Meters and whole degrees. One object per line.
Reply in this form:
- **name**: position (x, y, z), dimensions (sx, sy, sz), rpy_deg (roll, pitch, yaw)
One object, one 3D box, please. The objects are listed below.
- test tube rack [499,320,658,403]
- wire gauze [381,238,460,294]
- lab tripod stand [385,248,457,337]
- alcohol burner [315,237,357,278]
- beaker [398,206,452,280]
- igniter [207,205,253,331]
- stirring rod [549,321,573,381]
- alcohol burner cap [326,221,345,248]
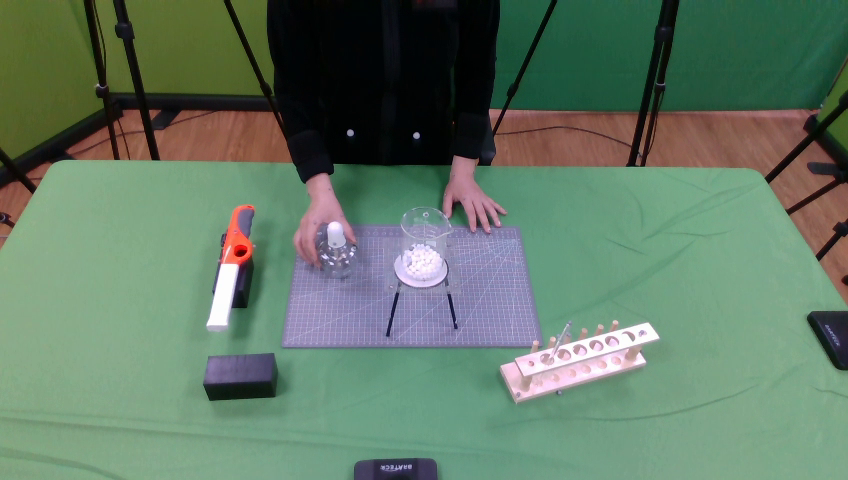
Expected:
- **test tube rack**: position (0.252, 0.187, 0.994), dimensions (0.243, 0.085, 0.066), rpy_deg (-12, 48, -15)
- **wire gauze**: position (-0.008, 0.042, 0.985), dimensions (0.125, 0.011, 0.120), rpy_deg (-1, 43, -2)
- **lab tripod stand**: position (-0.010, 0.087, 1.032), dimensions (0.148, 0.132, 0.147), rpy_deg (1, 45, -1)
- **alcohol burner**: position (-0.161, 0.013, 1.105), dimensions (0.078, 0.120, 0.077), rpy_deg (1, 46, -1)
- **beaker**: position (0.000, 0.008, 0.950), dimensions (0.084, 0.101, 0.073), rpy_deg (10, 45, 6)
- **igniter**: position (-0.339, 0.038, 1.066), dimensions (0.057, 0.025, 0.274), rpy_deg (2, 48, -6)
- **stirring rod**: position (0.202, 0.168, 0.901), dimensions (0.006, 0.177, 0.014), rpy_deg (-17, 54, -11)
- **alcohol burner cap**: position (-0.160, -0.012, 1.079), dimensions (0.034, 0.048, 0.033), rpy_deg (-1, 43, 1)
